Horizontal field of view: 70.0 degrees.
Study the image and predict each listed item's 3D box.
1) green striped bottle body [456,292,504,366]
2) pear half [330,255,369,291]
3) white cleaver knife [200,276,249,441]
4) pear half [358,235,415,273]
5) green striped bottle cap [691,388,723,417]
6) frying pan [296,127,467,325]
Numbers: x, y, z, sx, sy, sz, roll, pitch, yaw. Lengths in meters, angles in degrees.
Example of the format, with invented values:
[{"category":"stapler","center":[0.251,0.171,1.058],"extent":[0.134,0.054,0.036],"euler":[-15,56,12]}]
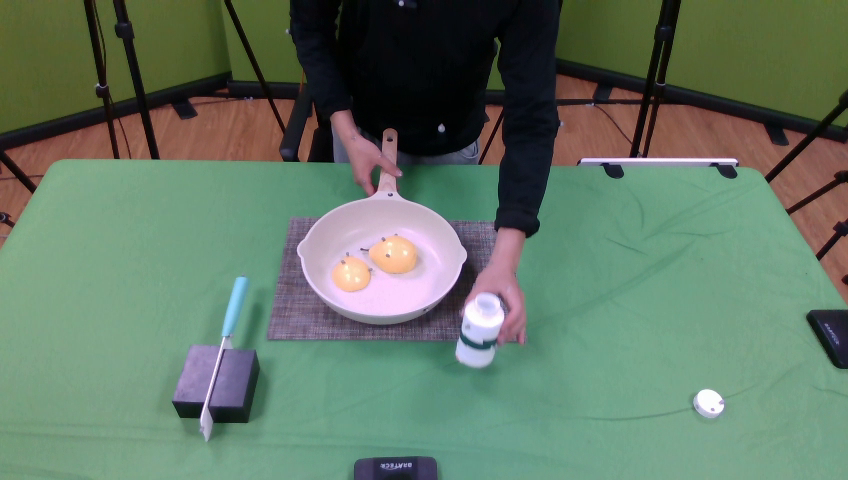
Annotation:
[{"category":"green striped bottle body","center":[0.089,0.138,0.952],"extent":[0.063,0.120,0.063],"euler":[5,38,-4]},{"category":"pear half","center":[-0.139,0.053,1.121],"extent":[0.070,0.031,0.087],"euler":[-6,50,-17]},{"category":"white cleaver knife","center":[-0.321,0.177,0.972],"extent":[0.021,0.066,0.284],"euler":[7,48,-5]},{"category":"pear half","center":[-0.073,0.017,1.146],"extent":[0.110,0.056,0.076],"euler":[9,41,7]},{"category":"green striped bottle cap","center":[0.460,0.263,0.984],"extent":[0.044,0.020,0.044],"euler":[3,47,-3]},{"category":"frying pan","center":[-0.076,-0.044,1.172],"extent":[0.307,0.103,0.485],"euler":[4,55,-3]}]
